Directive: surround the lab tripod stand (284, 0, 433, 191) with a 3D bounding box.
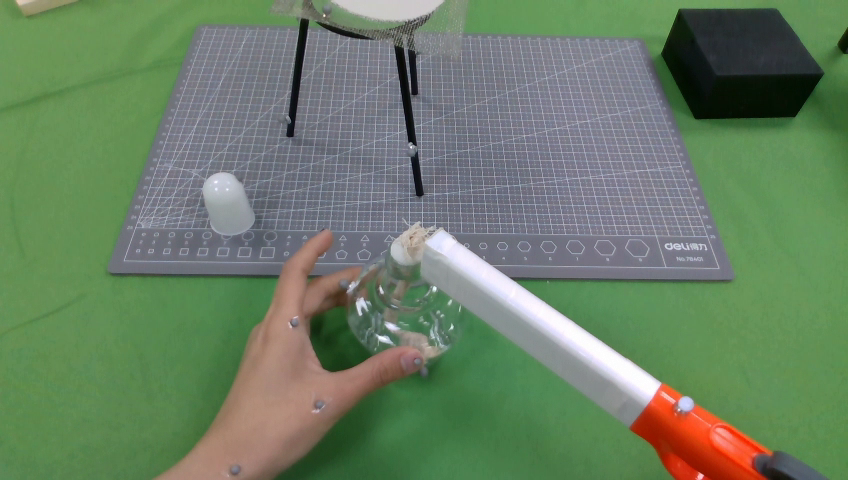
[{"bbox_3d":[-0.039,-0.127,0.462,0.148,0.132,0.147,3,53,-4],"label":"lab tripod stand"}]

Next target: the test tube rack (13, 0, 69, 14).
[{"bbox_3d":[-0.319,-0.325,0.627,0.242,0.086,0.066,-30,61,-24],"label":"test tube rack"}]

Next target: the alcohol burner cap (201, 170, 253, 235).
[{"bbox_3d":[-0.145,-0.030,0.439,0.034,0.048,0.033,3,52,-3],"label":"alcohol burner cap"}]

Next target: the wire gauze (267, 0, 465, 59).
[{"bbox_3d":[-0.030,-0.174,0.413,0.125,0.011,0.120,11,53,3],"label":"wire gauze"}]

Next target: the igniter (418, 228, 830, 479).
[{"bbox_3d":[0.107,0.081,0.272,0.274,0.057,0.025,35,56,20],"label":"igniter"}]

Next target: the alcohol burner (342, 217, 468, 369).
[{"bbox_3d":[-0.011,0.029,0.363,0.078,0.120,0.077,0,54,0],"label":"alcohol burner"}]
